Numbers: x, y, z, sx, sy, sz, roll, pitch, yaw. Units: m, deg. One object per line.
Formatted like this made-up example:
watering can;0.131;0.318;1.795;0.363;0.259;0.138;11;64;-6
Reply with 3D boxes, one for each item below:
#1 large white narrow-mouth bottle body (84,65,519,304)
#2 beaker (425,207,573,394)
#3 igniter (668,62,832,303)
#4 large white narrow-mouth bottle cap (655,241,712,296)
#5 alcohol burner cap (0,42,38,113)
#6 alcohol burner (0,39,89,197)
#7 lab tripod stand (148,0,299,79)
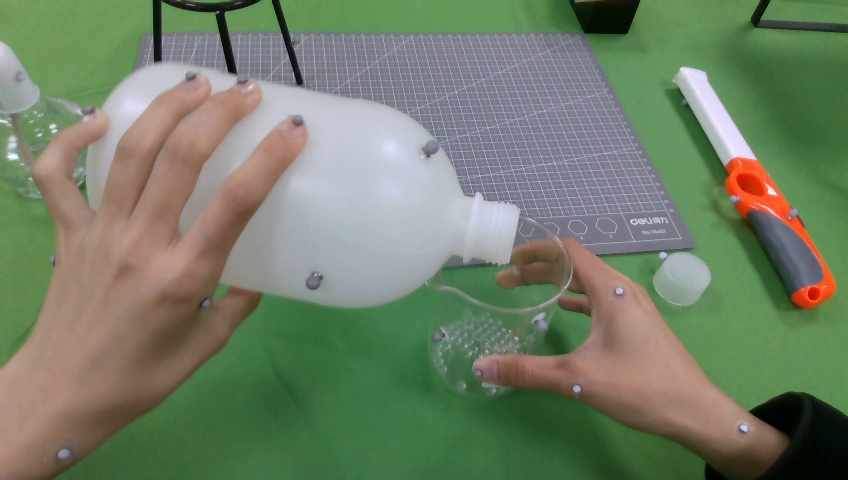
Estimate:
large white narrow-mouth bottle body;-0.051;-0.021;0.299;0.194;0.102;0.101;11;51;7
beaker;0.036;0.040;0.362;0.084;0.101;0.073;-15;51;-18
igniter;0.276;-0.063;0.529;0.057;0.025;0.273;5;51;-17
large white narrow-mouth bottle cap;0.196;0.022;0.458;0.038;0.024;0.037;3;52;-4
alcohol burner cap;-0.279;-0.109;0.393;0.034;0.048;0.033;3;58;-4
alcohol burner;-0.282;-0.088;0.422;0.078;0.120;0.077;5;50;-5
lab tripod stand;-0.153;-0.146;0.468;0.148;0.132;0.147;5;52;-6
